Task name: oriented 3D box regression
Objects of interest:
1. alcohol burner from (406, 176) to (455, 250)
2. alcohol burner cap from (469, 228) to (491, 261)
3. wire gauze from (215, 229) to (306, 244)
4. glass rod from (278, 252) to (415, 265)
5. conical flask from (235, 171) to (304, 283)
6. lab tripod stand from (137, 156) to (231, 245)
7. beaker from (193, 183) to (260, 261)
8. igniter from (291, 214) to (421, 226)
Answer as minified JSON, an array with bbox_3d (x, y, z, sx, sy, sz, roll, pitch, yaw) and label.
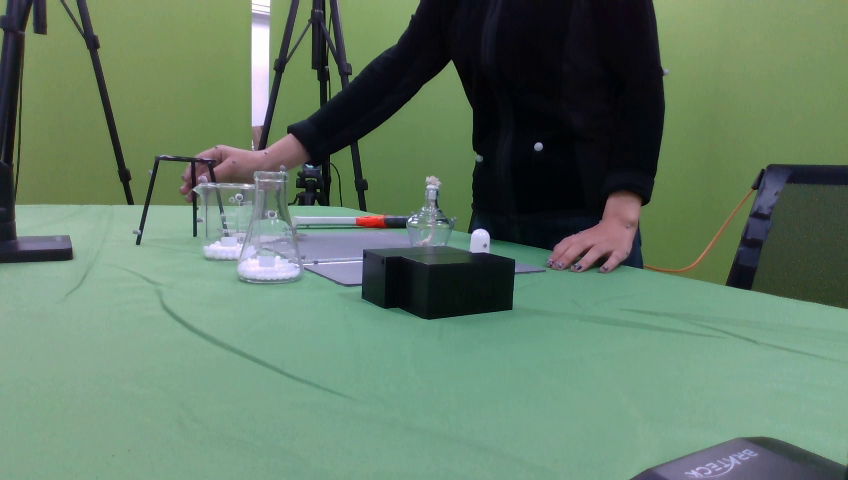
[{"bbox_3d":[0.011,-0.044,0.963,0.078,0.119,0.078,4,7,0],"label":"alcohol burner"},{"bbox_3d":[0.082,0.006,0.878,0.034,0.048,0.034,2,7,0],"label":"alcohol burner cap"},{"bbox_3d":[-0.273,-0.009,1.013,0.122,0.011,0.124,-2,9,-33],"label":"wire gauze"},{"bbox_3d":[-0.097,0.024,0.805,0.201,0.008,0.008,-3,8,-33],"label":"glass rod"},{"bbox_3d":[-0.172,-0.016,0.677,0.075,0.122,0.075,2,7,0],"label":"conical flask"},{"bbox_3d":[-0.358,-0.061,0.927,0.148,0.131,0.148,4,6,0],"label":"lab tripod stand"},{"bbox_3d":[-0.262,-0.025,0.806,0.084,0.100,0.073,-3,8,-30],"label":"beaker"},{"bbox_3d":[-0.135,-0.040,1.251,0.278,0.025,0.057,-2,-2,-27],"label":"igniter"}]
